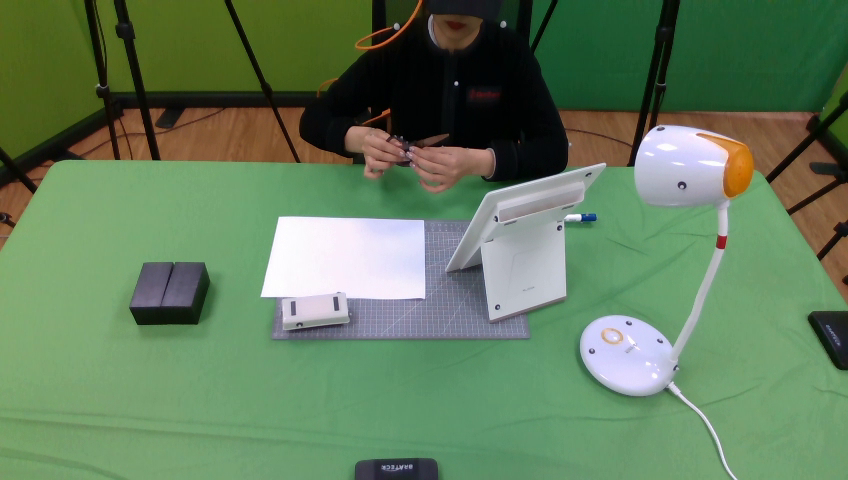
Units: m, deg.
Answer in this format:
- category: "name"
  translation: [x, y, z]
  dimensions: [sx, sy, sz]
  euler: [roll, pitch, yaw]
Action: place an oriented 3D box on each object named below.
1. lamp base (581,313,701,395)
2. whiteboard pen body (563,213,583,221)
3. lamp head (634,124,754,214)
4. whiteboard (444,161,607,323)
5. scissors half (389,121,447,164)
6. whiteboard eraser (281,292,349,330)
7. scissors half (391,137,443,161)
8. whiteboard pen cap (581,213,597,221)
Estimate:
- category: "lamp base"
  translation: [0.361, 0.144, 0.973]
  dimensions: [0.178, 0.181, 0.160]
  euler: [34, 53, 23]
- category: "whiteboard pen body"
  translation: [0.283, -0.047, 1.257]
  dimensions: [0.141, 0.017, 0.017]
  euler: [-1, 46, -2]
- category: "lamp head"
  translation: [0.351, -0.089, 0.776]
  dimensions: [0.112, 0.113, 0.122]
  euler: [-30, 30, -28]
- category: "whiteboard"
  translation: [0.186, 0.025, 1.029]
  dimensions: [0.217, 0.306, 0.143]
  euler: [-14, 68, -18]
- category: "scissors half"
  translation: [-0.013, -0.194, 1.187]
  dimensions: [0.013, 0.175, 0.040]
  euler: [26, 60, -32]
- category: "whiteboard eraser"
  translation: [-0.189, 0.124, 1.045]
  dimensions: [0.113, 0.042, 0.055]
  euler: [-6, 46, -10]
- category: "scissors half"
  translation: [-0.015, -0.182, 1.184]
  dimensions: [0.013, 0.174, 0.040]
  euler: [18, 77, -33]
- category: "whiteboard pen cap"
  translation: [0.342, -0.048, 1.260]
  dimensions: [0.033, 0.018, 0.018]
  euler: [-3, 46, -3]
